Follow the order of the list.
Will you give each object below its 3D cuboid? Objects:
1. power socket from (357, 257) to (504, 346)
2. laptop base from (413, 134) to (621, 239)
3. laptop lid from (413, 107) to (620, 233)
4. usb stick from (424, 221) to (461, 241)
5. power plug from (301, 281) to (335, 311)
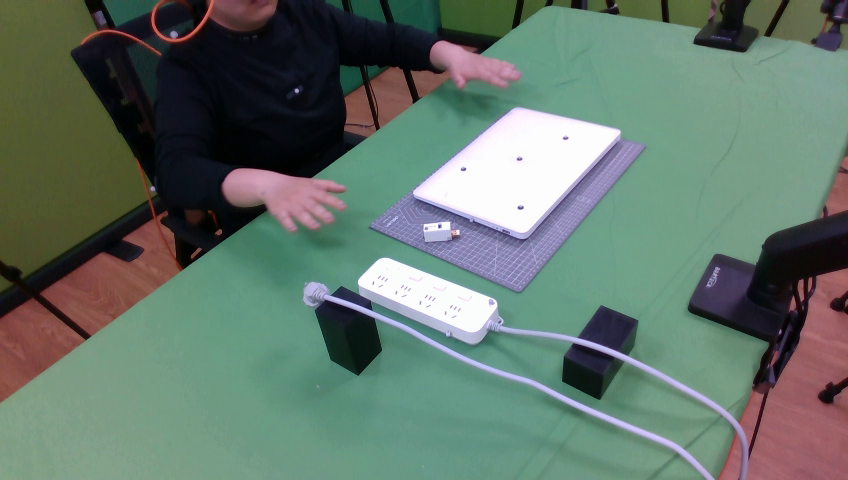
[{"bbox_3d":[0.003,0.084,0.862,0.225,0.033,0.072,20,49,28],"label":"power socket"},{"bbox_3d":[0.176,-0.134,1.101,0.233,0.023,0.355,21,48,33],"label":"laptop base"},{"bbox_3d":[0.173,-0.144,1.095,0.239,0.013,0.358,23,49,33],"label":"laptop lid"},{"bbox_3d":[0.030,-0.014,0.973,0.059,0.027,0.021,-2,42,1],"label":"usb stick"},{"bbox_3d":[-0.134,0.081,0.783,0.035,0.053,0.072,-43,47,-7],"label":"power plug"}]
